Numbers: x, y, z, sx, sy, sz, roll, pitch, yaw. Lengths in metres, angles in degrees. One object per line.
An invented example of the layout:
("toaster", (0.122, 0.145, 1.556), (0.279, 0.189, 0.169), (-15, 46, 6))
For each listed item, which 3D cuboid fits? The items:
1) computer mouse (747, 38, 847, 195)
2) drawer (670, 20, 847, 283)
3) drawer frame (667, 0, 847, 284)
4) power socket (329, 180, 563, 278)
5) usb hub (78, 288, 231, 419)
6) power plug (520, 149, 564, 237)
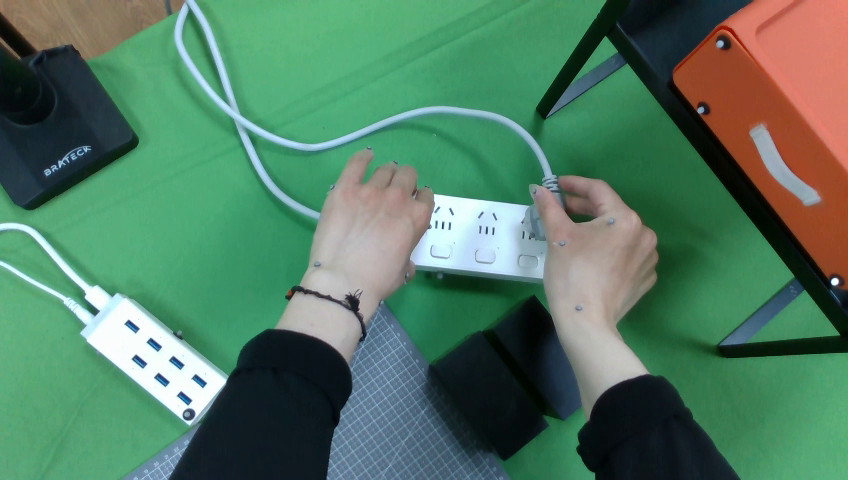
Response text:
("computer mouse", (0.291, -0.091, 0.432), (0.063, 0.041, 0.117), (-39, 84, -8))
("drawer", (0.317, -0.108, 0.423), (0.212, 0.073, 0.194), (-35, 85, -12))
("drawer frame", (0.319, -0.111, 0.423), (0.213, 0.083, 0.201), (-36, 85, -12))
("power socket", (0.025, -0.010, 0.578), (0.227, 0.032, 0.072), (7, 78, -5))
("usb hub", (-0.235, 0.099, 0.532), (0.125, 0.025, 0.049), (38, 79, 1))
("power plug", (0.109, -0.039, 0.556), (0.035, 0.052, 0.072), (13, 74, -21))
